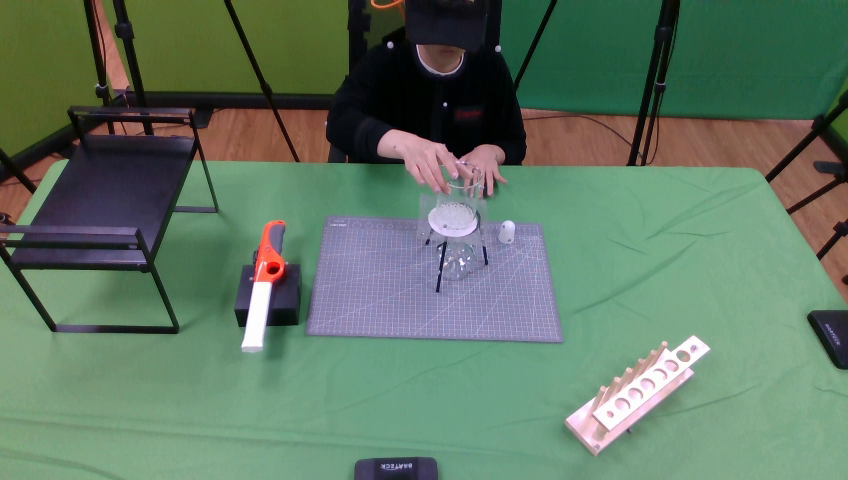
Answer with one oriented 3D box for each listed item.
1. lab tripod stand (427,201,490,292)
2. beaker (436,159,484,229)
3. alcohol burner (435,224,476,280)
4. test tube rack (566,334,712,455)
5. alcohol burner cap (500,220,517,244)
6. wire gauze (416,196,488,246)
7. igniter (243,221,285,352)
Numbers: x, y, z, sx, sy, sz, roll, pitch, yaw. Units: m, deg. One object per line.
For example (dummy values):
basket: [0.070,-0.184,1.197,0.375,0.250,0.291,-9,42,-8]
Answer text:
lab tripod stand: [0.053,0.003,1.114,0.148,0.132,0.147,0,46,0]
beaker: [0.058,-0.077,1.031,0.074,0.101,0.083,-4,45,-9]
alcohol burner: [0.060,0.017,1.114,0.078,0.119,0.077,3,44,-2]
test tube rack: [0.339,0.228,0.951,0.242,0.085,0.066,-26,52,-26]
alcohol burner cap: [0.171,-0.018,1.205,0.034,0.048,0.033,1,46,-1]
wire gauze: [0.050,-0.038,1.061,0.125,0.011,0.121,4,42,4]
igniter: [-0.273,0.069,1.041,0.057,0.025,0.274,2,48,-6]
